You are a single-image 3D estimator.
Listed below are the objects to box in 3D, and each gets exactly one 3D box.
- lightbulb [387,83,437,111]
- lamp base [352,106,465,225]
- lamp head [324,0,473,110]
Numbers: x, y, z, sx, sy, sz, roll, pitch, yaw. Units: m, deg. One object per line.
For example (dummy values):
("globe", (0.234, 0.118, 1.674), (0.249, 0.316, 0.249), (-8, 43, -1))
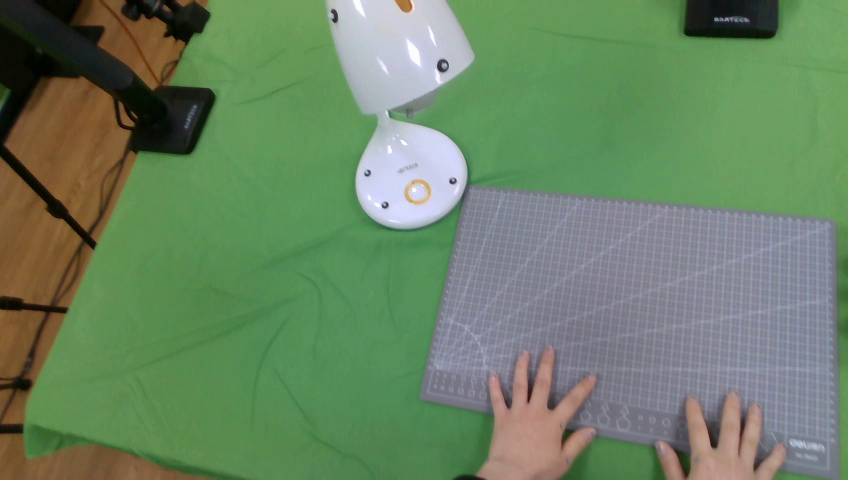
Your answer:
("lightbulb", (-0.025, -0.163, 0.514), (0.059, 0.108, 0.059), (-16, 26, 8))
("lamp base", (-0.044, -0.134, 0.782), (0.160, 0.182, 0.177), (-31, 61, -2))
("lamp head", (-0.033, -0.187, 0.507), (0.112, 0.124, 0.111), (-25, 21, 11))
